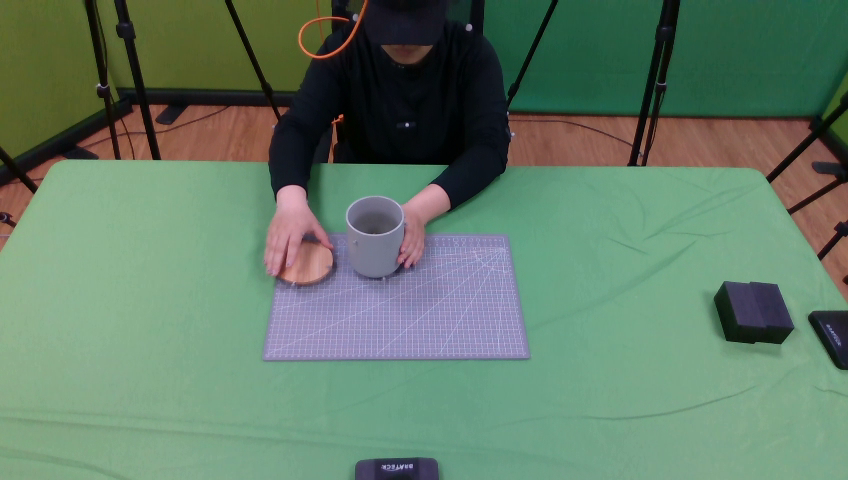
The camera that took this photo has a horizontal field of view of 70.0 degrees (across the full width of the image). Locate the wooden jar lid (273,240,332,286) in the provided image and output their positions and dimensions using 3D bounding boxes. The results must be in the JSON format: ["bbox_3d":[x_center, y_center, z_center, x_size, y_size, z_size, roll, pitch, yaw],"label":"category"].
[{"bbox_3d":[-0.227,0.044,1.137,0.108,0.021,0.107,3,47,-3],"label":"wooden jar lid"}]

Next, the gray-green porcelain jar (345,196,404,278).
[{"bbox_3d":[-0.091,-0.001,1.117,0.106,0.127,0.105,2,46,-2],"label":"gray-green porcelain jar"}]
